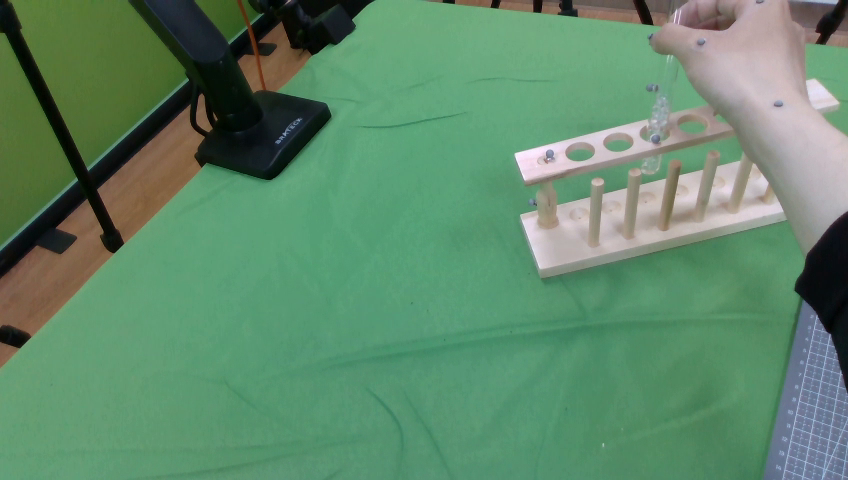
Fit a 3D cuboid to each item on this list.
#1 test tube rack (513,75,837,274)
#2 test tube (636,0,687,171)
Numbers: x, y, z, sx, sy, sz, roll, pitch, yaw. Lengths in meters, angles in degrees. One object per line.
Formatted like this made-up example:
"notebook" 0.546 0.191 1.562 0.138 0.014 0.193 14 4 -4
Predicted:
"test tube rack" 0.200 -0.050 0.488 0.242 0.086 0.066 -14 49 2
"test tube" 0.179 -0.125 0.454 0.017 0.151 0.017 2 21 -1
